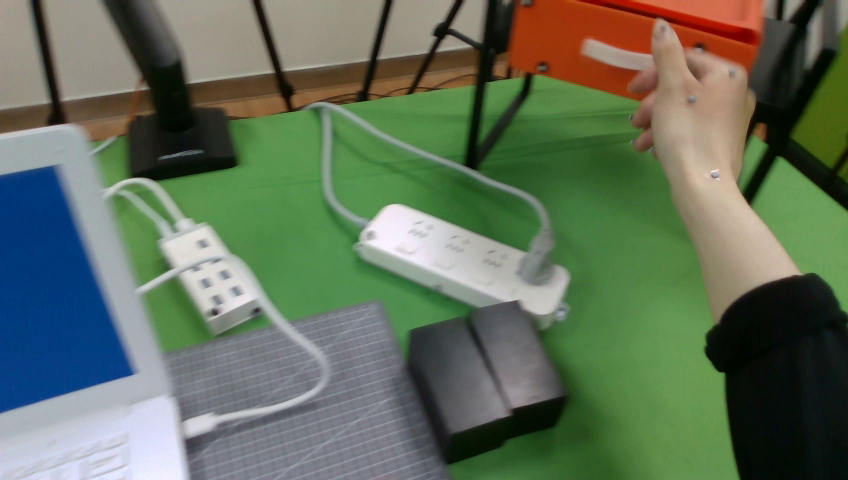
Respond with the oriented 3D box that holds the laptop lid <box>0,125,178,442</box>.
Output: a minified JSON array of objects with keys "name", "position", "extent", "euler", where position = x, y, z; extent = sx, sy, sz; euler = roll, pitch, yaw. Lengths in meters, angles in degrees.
[{"name":"laptop lid","position":[-0.366,0.067,0.379],"extent":[0.357,0.244,0.013],"euler":[-16,35,-17]}]

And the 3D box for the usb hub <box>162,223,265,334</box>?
[{"name":"usb hub","position":[-0.206,0.034,0.587],"extent":[0.049,0.025,0.124],"euler":[-27,53,-28]}]

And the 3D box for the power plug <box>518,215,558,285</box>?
[{"name":"power plug","position":[0.121,0.017,0.594],"extent":[0.035,0.053,0.072],"euler":[30,52,26]}]

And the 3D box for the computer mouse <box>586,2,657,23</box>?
[{"name":"computer mouse","position":[0.190,-0.189,0.568],"extent":[0.063,0.041,0.116],"euler":[-17,53,-24]}]

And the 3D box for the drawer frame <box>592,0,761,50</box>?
[{"name":"drawer frame","position":[0.213,-0.233,0.594],"extent":[0.201,0.083,0.212],"euler":[19,46,14]}]

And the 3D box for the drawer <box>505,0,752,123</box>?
[{"name":"drawer","position":[0.203,-0.214,0.576],"extent":[0.193,0.074,0.210],"euler":[19,46,15]}]

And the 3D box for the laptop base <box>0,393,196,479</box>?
[{"name":"laptop base","position":[-0.315,0.245,0.369],"extent":[0.355,0.023,0.233],"euler":[-15,51,-18]}]

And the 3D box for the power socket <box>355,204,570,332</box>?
[{"name":"power socket","position":[0.039,0.024,0.611],"extent":[0.225,0.033,0.072],"euler":[21,46,17]}]
